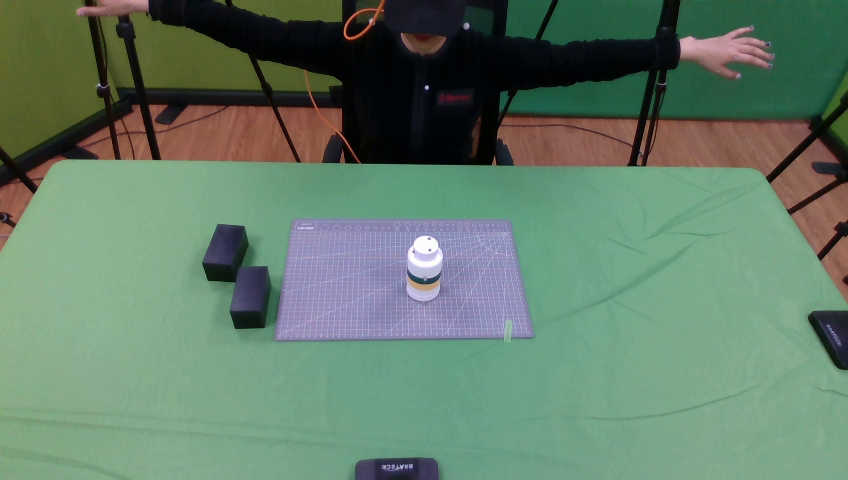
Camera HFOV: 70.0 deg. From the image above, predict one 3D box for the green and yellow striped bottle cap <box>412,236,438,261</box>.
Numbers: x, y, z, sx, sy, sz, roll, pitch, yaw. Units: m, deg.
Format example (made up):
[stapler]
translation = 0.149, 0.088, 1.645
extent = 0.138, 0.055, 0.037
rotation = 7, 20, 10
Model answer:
[green and yellow striped bottle cap]
translation = 0.002, 0.013, 1.040
extent = 0.045, 0.020, 0.045
rotation = 3, 45, -3

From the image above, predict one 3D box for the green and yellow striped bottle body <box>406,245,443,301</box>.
[green and yellow striped bottle body]
translation = 0.001, 0.049, 1.077
extent = 0.063, 0.120, 0.063
rotation = 2, 46, -2
